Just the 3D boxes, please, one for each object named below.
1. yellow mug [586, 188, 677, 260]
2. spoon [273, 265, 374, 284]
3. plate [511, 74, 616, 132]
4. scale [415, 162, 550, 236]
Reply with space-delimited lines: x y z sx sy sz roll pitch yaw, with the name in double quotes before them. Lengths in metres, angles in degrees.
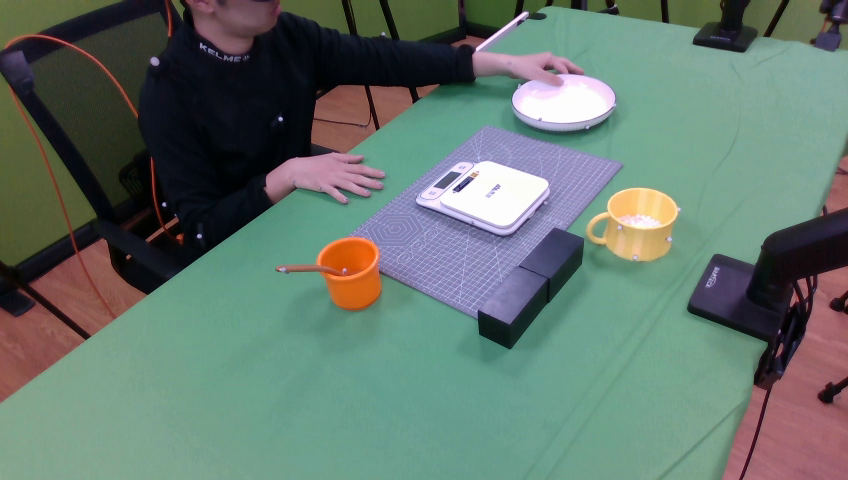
"yellow mug" 0.311 -0.022 0.916 0.131 0.064 0.099 -8 40 0
"spoon" -0.136 0.045 0.839 0.041 0.195 0.021 18 91 33
"plate" 0.283 -0.276 1.238 0.209 0.038 0.208 -4 41 4
"scale" 0.099 -0.079 1.035 0.199 0.032 0.149 23 48 31
